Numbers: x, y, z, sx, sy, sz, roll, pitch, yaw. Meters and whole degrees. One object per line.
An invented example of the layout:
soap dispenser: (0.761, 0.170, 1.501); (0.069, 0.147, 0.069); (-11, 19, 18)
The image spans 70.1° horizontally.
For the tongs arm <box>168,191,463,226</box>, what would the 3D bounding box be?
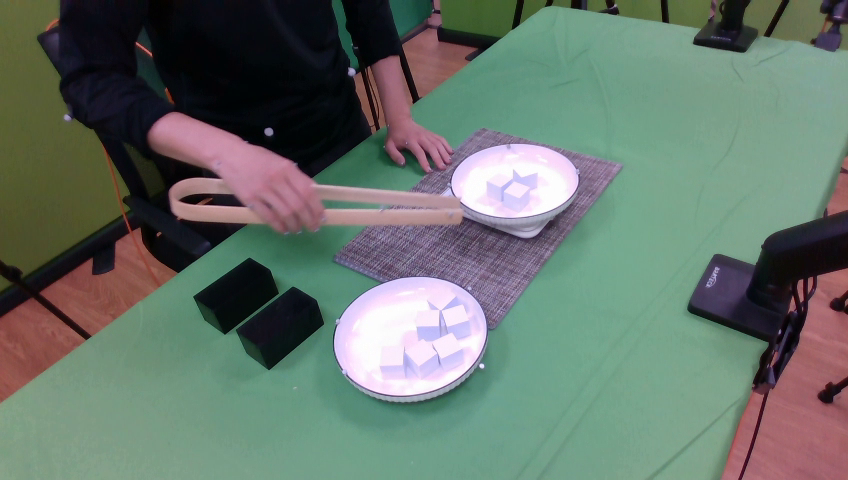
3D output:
tongs arm: (-0.138, -0.043, 0.815); (0.387, 0.026, 0.050); (-2, 45, -15)

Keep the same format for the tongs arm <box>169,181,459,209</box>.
tongs arm: (-0.140, -0.057, 0.830); (0.389, 0.028, 0.028); (2, 48, -11)

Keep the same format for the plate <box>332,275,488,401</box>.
plate: (-0.017, 0.131, 0.808); (0.207, 0.039, 0.206); (-4, 41, 4)

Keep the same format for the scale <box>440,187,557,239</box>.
scale: (0.132, -0.075, 1.025); (0.199, 0.032, 0.149); (22, 48, 30)

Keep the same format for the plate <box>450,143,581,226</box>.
plate: (0.148, -0.087, 0.986); (0.209, 0.038, 0.208); (-4, 41, 4)
